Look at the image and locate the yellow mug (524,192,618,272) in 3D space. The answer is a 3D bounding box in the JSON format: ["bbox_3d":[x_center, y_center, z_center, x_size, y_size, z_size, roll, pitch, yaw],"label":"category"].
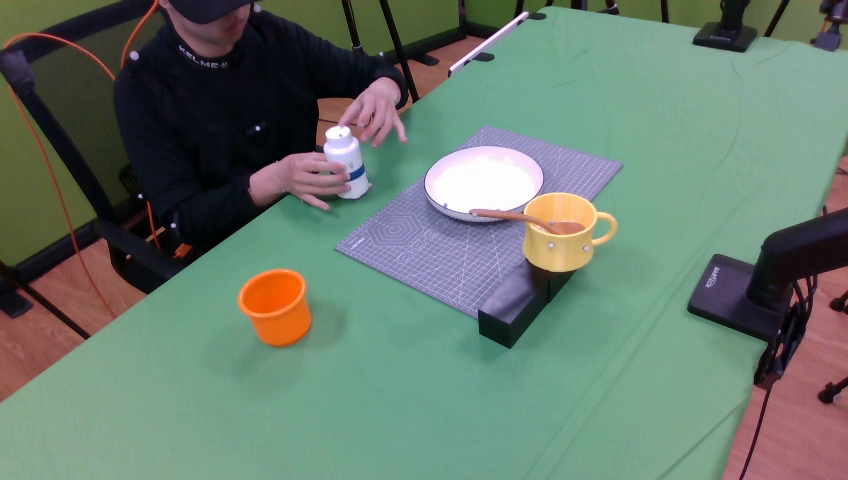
[{"bbox_3d":[0.206,-0.014,0.845,0.131,0.064,0.099,-4,41,2],"label":"yellow mug"}]

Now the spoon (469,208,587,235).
[{"bbox_3d":[0.143,-0.026,0.817,0.195,0.021,0.041,12,34,-29],"label":"spoon"}]

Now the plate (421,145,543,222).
[{"bbox_3d":[0.101,-0.094,1.048,0.207,0.039,0.206,-4,41,4],"label":"plate"}]

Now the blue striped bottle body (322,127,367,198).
[{"bbox_3d":[-0.142,-0.139,1.063,0.063,0.121,0.063,-5,40,5],"label":"blue striped bottle body"}]

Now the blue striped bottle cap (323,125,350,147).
[{"bbox_3d":[-0.150,-0.177,1.030,0.044,0.021,0.044,-3,39,3],"label":"blue striped bottle cap"}]
